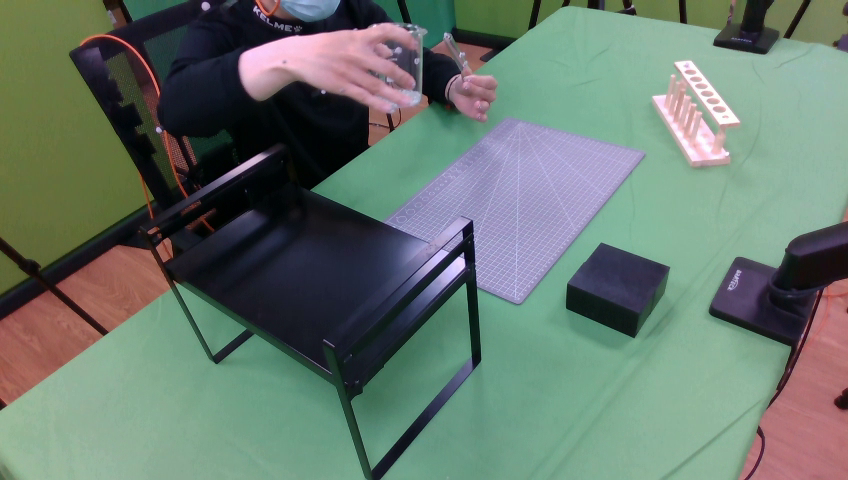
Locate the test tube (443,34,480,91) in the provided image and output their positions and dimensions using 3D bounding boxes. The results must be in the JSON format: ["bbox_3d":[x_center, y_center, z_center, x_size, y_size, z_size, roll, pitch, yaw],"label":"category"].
[{"bbox_3d":[0.067,-0.301,1.036,0.017,0.152,0.017,-9,66,22],"label":"test tube"}]

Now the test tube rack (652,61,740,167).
[{"bbox_3d":[0.499,-0.242,1.130,0.067,0.085,0.241,-5,41,3],"label":"test tube rack"}]

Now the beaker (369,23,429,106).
[{"bbox_3d":[-0.033,-0.240,0.826,0.084,0.100,0.073,-11,31,-23],"label":"beaker"}]
